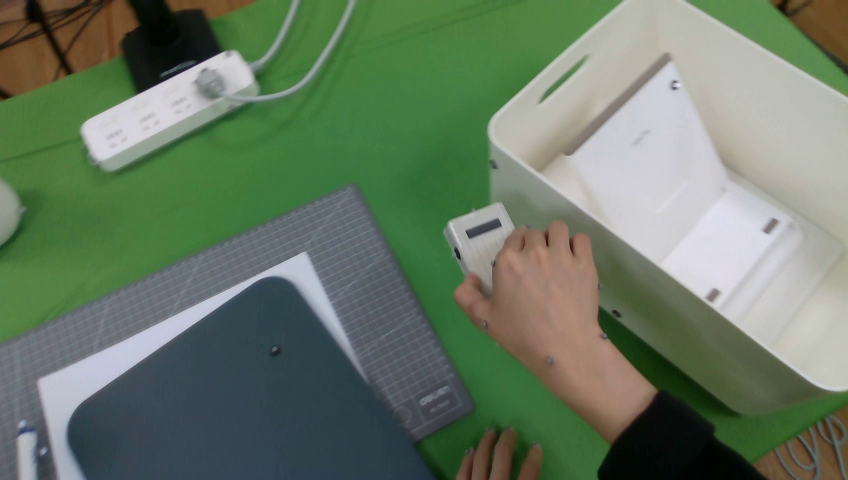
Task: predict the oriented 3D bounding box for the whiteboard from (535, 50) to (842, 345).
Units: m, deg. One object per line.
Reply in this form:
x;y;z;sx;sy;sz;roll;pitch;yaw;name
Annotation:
0.261;-0.048;0.611;0.303;0.145;0.217;39;71;20;whiteboard

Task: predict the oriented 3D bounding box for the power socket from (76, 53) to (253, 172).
-0.320;-0.161;0.754;0.227;0.033;0.071;-31;68;-12;power socket

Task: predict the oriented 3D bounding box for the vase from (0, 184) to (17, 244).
-0.523;-0.059;0.623;0.098;0.201;0.097;-2;64;4;vase

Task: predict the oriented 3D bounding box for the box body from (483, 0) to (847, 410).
0.264;-0.042;0.597;0.361;0.161;0.254;40;72;19;box body

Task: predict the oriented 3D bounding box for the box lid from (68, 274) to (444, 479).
-0.148;0.226;0.572;0.263;0.015;0.368;-37;69;-14;box lid

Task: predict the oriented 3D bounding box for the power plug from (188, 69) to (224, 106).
-0.262;-0.174;0.733;0.035;0.053;0.072;-22;71;-8;power plug

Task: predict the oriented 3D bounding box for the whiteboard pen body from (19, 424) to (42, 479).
-0.365;0.241;0.566;0.017;0.017;0.139;-19;67;-6;whiteboard pen body

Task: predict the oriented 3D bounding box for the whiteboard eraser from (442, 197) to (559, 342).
0.062;0.024;0.501;0.056;0.042;0.112;-21;72;-14;whiteboard eraser
